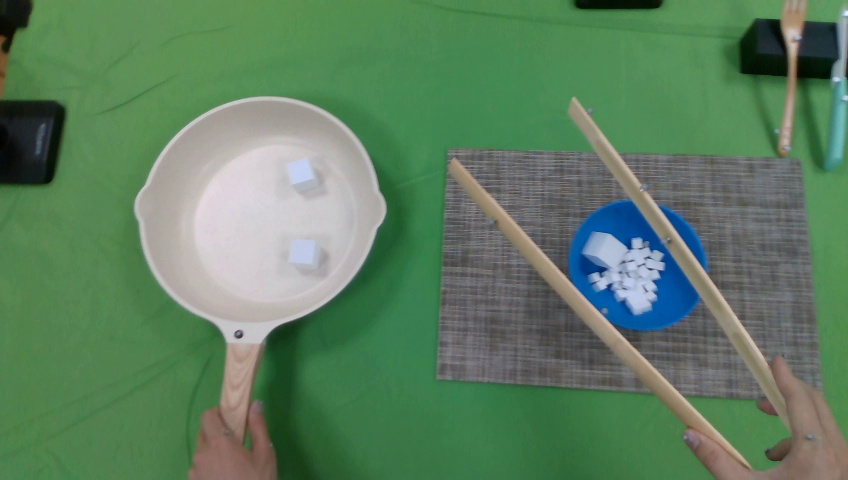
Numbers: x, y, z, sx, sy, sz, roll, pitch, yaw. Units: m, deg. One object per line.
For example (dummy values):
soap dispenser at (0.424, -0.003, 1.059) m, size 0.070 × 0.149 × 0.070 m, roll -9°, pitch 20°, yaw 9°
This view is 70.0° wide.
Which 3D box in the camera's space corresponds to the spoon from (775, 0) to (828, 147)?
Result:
spoon at (0.460, -0.214, 0.753) m, size 0.041 × 0.022 × 0.194 m, roll 13°, pitch 99°, yaw 29°

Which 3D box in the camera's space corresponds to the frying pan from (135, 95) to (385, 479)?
frying pan at (-0.204, 0.060, 0.721) m, size 0.306 × 0.103 × 0.484 m, roll 2°, pitch 68°, yaw 5°

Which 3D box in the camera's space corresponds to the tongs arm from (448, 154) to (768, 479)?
tongs arm at (0.150, 0.061, 0.510) m, size 0.028 × 0.028 × 0.385 m, roll -35°, pitch 72°, yaw -23°

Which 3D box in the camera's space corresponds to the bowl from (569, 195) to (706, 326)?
bowl at (0.240, 0.031, 0.711) m, size 0.151 × 0.077 × 0.150 m, roll -1°, pitch 76°, yaw 3°

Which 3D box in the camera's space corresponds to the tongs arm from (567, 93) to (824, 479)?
tongs arm at (0.216, 0.025, 0.530) m, size 0.051 × 0.027 × 0.382 m, roll -25°, pitch 69°, yaw -15°

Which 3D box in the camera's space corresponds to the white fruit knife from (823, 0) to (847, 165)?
white fruit knife at (0.515, -0.198, 0.752) m, size 0.016 × 0.027 × 0.207 m, roll 3°, pitch 91°, yaw 0°
